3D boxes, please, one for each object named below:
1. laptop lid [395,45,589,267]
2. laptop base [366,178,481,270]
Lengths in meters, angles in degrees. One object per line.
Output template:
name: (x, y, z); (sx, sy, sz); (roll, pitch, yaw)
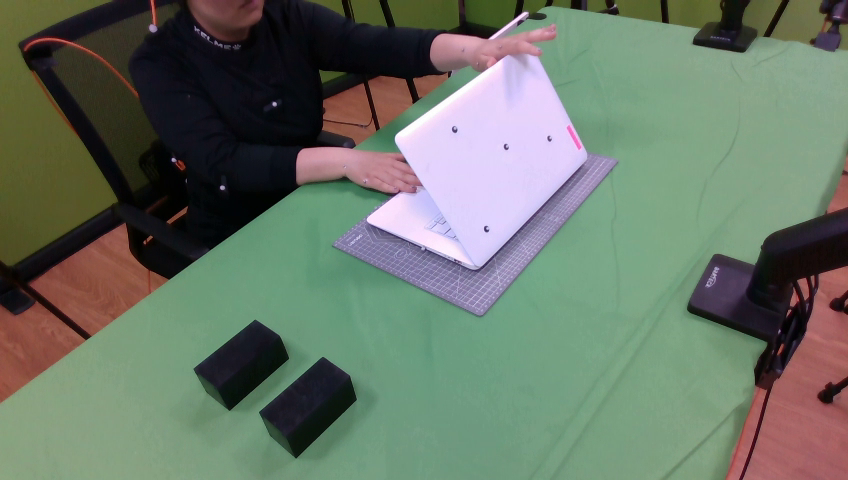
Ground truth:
laptop lid: (0.128, -0.147, 0.964); (0.358, 0.242, 0.013); (-40, 15, -34)
laptop base: (0.098, -0.085, 1.058); (0.233, 0.023, 0.355); (21, 47, 34)
